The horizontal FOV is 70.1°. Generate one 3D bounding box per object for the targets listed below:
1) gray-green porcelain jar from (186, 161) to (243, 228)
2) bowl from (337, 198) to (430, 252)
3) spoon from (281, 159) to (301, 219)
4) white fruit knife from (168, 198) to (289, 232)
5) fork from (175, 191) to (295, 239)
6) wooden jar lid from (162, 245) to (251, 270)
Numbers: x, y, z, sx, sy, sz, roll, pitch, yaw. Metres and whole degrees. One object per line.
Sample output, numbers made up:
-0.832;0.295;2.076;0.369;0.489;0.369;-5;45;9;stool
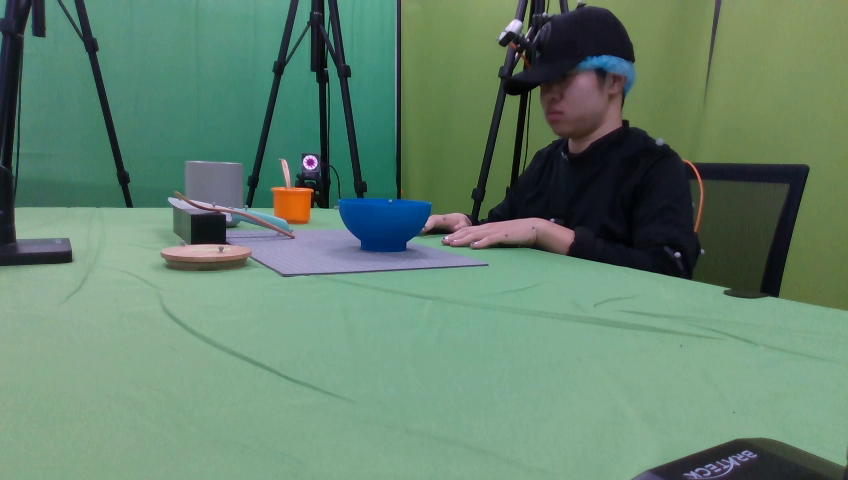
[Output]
-0.412;-0.090;1.193;0.106;0.126;0.106;2;7;0;gray-green porcelain jar
-0.066;-0.024;0.967;0.151;0.077;0.151;3;7;0;bowl
-0.307;-0.117;1.368;0.042;0.193;0.021;1;-37;-22;spoon
-0.329;-0.044;1.036;0.208;0.027;0.016;14;-1;-32;white fruit knife
-0.305;-0.039;0.993;0.208;0.018;0.028;19;-9;-34;fork
-0.278;0.022;0.777;0.108;0.020;0.108;2;6;0;wooden jar lid
